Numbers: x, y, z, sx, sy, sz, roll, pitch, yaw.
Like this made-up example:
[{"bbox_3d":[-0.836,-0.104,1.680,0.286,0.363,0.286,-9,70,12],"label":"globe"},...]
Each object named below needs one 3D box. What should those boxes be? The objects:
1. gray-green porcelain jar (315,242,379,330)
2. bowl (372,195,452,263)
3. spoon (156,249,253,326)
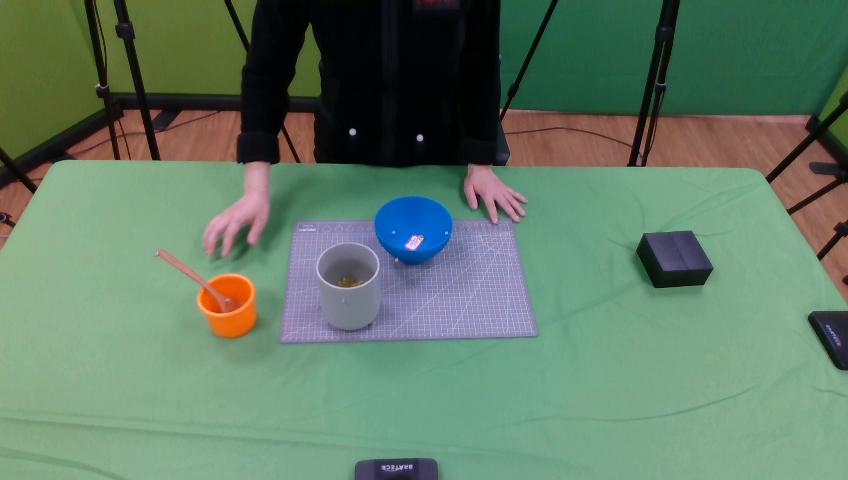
[{"bbox_3d":[-0.129,0.084,1.031,0.106,0.127,0.105,2,46,-2],"label":"gray-green porcelain jar"},{"bbox_3d":[-0.023,-0.008,1.161,0.151,0.077,0.150,2,46,-2],"label":"bowl"},{"bbox_3d":[-0.363,0.078,1.007,0.021,0.194,0.041,-23,30,38],"label":"spoon"}]
